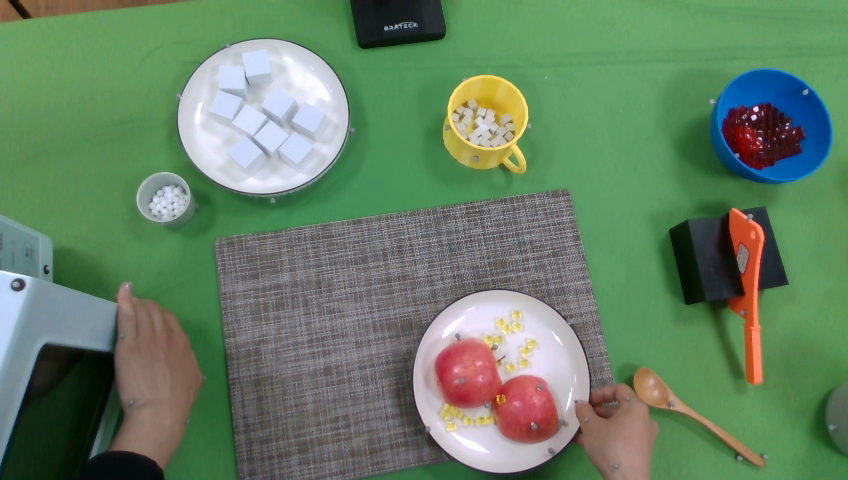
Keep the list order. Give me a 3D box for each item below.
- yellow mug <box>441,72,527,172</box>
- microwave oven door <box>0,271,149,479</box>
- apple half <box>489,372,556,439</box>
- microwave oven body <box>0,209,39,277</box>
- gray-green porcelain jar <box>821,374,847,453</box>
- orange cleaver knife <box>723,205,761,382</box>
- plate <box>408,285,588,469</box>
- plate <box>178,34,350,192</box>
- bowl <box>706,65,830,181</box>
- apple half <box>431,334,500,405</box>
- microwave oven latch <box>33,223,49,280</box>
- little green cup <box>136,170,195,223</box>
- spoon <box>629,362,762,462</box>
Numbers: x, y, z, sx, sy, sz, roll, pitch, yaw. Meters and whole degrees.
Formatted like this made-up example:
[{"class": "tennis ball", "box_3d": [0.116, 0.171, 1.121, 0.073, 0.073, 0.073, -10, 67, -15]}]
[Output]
[{"class": "yellow mug", "box_3d": [0.083, -0.139, 0.763, 0.100, 0.064, 0.130, -37, 84, -11]}, {"class": "microwave oven door", "box_3d": [-0.359, 0.217, 0.542, 0.039, 0.244, 0.354, 12, 77, -1]}, {"class": "apple half", "box_3d": [0.115, 0.191, 0.697, 0.081, 0.033, 0.081, 1, 74, -2]}, {"class": "microwave oven body", "box_3d": [-0.562, 0.186, 0.537, 0.326, 0.261, 0.439, -5, 79, -6]}, {"class": "gray-green porcelain jar", "box_3d": [0.536, 0.203, 0.692, 0.106, 0.127, 0.105, 1, 77, -4]}, {"class": "orange cleaver knife", "box_3d": [0.383, 0.064, 0.733, 0.012, 0.077, 0.212, -7, 102, -2]}, {"class": "plate", "box_3d": [0.084, 0.157, 0.708, 0.209, 0.038, 0.208, 1, 78, -4]}, {"class": "plate", "box_3d": [-0.196, -0.156, 0.759, 0.208, 0.039, 0.206, 1, 78, -4]}, {"class": "bowl", "box_3d": [0.427, -0.139, 0.783, 0.151, 0.077, 0.150, 1, 78, -4]}, {"class": "apple half", "box_3d": [0.047, 0.148, 0.692, 0.075, 0.053, 0.080, -12, 80, -4]}, {"class": "microwave oven latch", "box_3d": [-0.442, 0.023, 0.681, 0.030, 0.029, 0.079, -3, 79, -6]}, {"class": "little green cup", "box_3d": [-0.307, -0.050, 0.725, 0.061, 0.039, 0.061, 1, 80, -4]}, {"class": "spoon", "box_3d": [0.325, 0.211, 0.726, 0.193, 0.022, 0.041, 34, 60, 3]}]
